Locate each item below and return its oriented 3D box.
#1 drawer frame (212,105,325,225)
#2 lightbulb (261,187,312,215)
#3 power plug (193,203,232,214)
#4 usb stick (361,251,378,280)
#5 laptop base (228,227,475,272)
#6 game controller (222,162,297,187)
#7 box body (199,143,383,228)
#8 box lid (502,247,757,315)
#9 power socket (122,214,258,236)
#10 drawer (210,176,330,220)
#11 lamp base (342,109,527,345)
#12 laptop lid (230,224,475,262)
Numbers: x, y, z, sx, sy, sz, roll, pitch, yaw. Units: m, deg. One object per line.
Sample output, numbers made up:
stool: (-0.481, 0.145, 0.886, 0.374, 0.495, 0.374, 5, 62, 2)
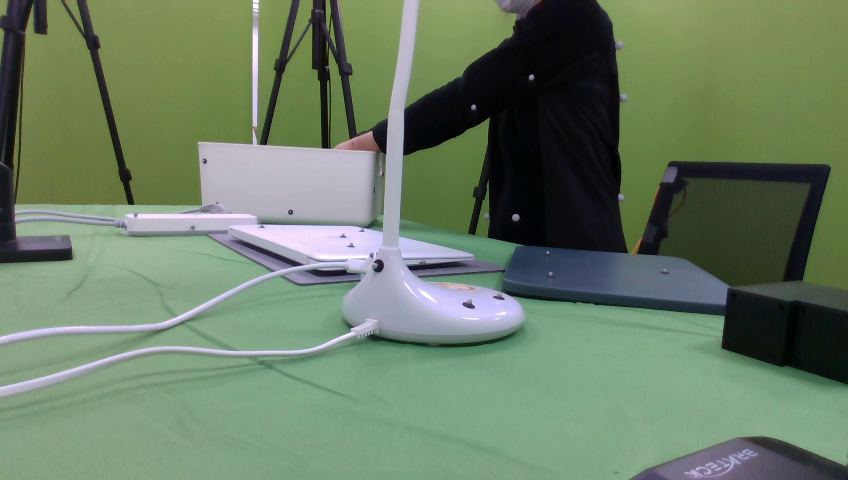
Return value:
drawer frame: (-0.313, -0.143, 1.304, 0.082, 0.213, 0.202, 22, -16, 33)
lightbulb: (-0.293, -0.079, 1.288, 0.108, 0.059, 0.059, -14, 14, -24)
power plug: (-0.393, -0.042, 1.139, 0.072, 0.052, 0.035, -13, 2, 31)
usb stick: (-0.052, 0.033, 0.656, 0.027, 0.021, 0.059, 4, -27, -20)
laptop base: (-0.122, 0.011, 0.889, 0.237, 0.023, 0.352, 2, 6, -35)
game controller: (-0.358, -0.142, 1.313, 0.156, 0.051, 0.097, -1, 4, -21)
box body: (-0.276, -0.124, 1.334, 0.364, 0.160, 0.254, 3, 7, 1)
box lid: (0.244, 0.044, 0.793, 0.263, 0.015, 0.372, 4, 7, 10)
power socket: (-0.398, -0.028, 1.049, 0.228, 0.032, 0.072, -3, 8, -34)
drawer: (-0.329, -0.098, 1.323, 0.212, 0.073, 0.194, 6, 9, 2)
lamp base: (0.006, -0.015, 0.505, 0.160, 0.180, 0.180, 6, 11, 29)
laptop lid: (-0.120, 0.000, 0.888, 0.243, 0.013, 0.355, 1, 7, -33)
